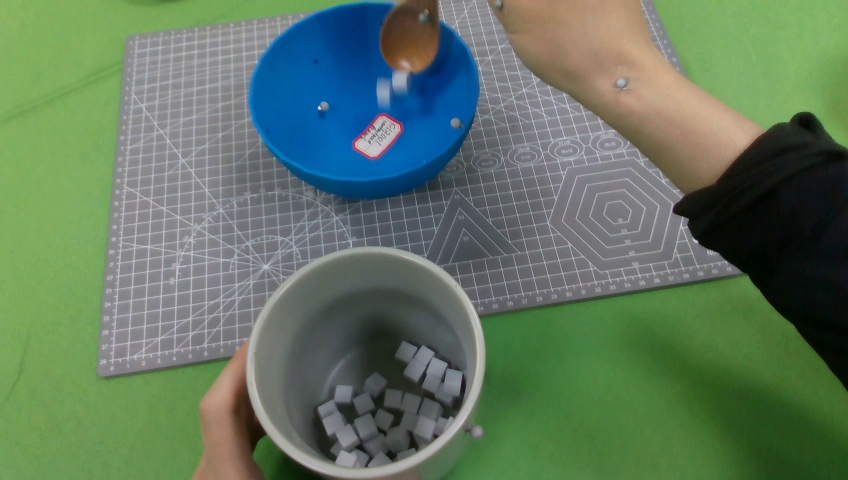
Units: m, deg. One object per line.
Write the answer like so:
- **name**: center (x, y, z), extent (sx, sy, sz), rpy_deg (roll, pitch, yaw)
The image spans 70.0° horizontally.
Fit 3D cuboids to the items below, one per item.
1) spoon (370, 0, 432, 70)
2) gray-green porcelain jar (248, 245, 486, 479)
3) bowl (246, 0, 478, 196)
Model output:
- **spoon**: center (0.006, -0.155, 0.338), extent (0.042, 0.194, 0.021), rpy_deg (30, 68, -8)
- **gray-green porcelain jar**: center (-0.023, 0.076, 0.321), extent (0.106, 0.127, 0.105), rpy_deg (-1, 63, 2)
- **bowl**: center (-0.039, -0.085, 0.424), extent (0.151, 0.077, 0.150), rpy_deg (-1, 63, 2)
